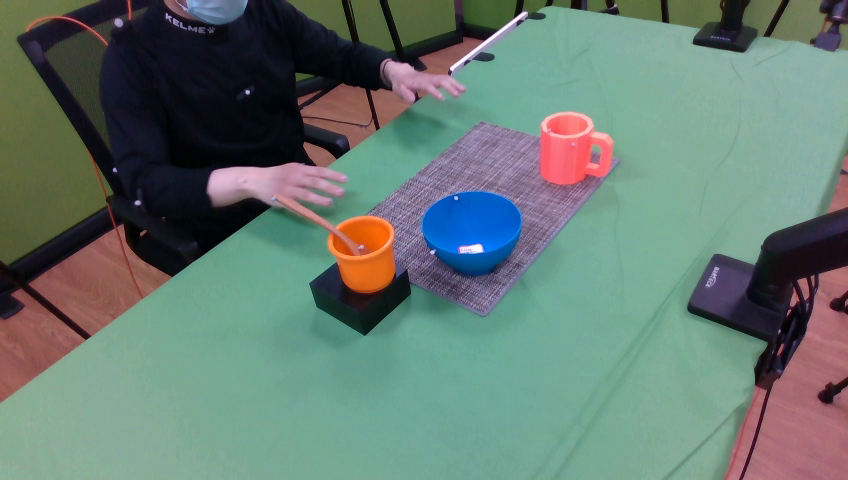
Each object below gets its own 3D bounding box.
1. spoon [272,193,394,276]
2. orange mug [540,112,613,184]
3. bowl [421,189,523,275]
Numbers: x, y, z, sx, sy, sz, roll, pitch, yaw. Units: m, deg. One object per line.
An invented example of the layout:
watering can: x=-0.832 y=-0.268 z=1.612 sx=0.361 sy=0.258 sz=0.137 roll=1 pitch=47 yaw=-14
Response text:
spoon: x=-0.122 y=-0.009 z=0.822 sx=0.021 sy=0.195 sz=0.041 roll=-38 pitch=23 yaw=37
orange mug: x=0.263 y=-0.157 z=1.050 sx=0.125 sy=0.101 sz=0.083 roll=14 pitch=45 yaw=29
bowl: x=0.073 y=-0.001 z=0.910 sx=0.151 sy=0.077 sz=0.150 roll=-4 pitch=41 yaw=4
